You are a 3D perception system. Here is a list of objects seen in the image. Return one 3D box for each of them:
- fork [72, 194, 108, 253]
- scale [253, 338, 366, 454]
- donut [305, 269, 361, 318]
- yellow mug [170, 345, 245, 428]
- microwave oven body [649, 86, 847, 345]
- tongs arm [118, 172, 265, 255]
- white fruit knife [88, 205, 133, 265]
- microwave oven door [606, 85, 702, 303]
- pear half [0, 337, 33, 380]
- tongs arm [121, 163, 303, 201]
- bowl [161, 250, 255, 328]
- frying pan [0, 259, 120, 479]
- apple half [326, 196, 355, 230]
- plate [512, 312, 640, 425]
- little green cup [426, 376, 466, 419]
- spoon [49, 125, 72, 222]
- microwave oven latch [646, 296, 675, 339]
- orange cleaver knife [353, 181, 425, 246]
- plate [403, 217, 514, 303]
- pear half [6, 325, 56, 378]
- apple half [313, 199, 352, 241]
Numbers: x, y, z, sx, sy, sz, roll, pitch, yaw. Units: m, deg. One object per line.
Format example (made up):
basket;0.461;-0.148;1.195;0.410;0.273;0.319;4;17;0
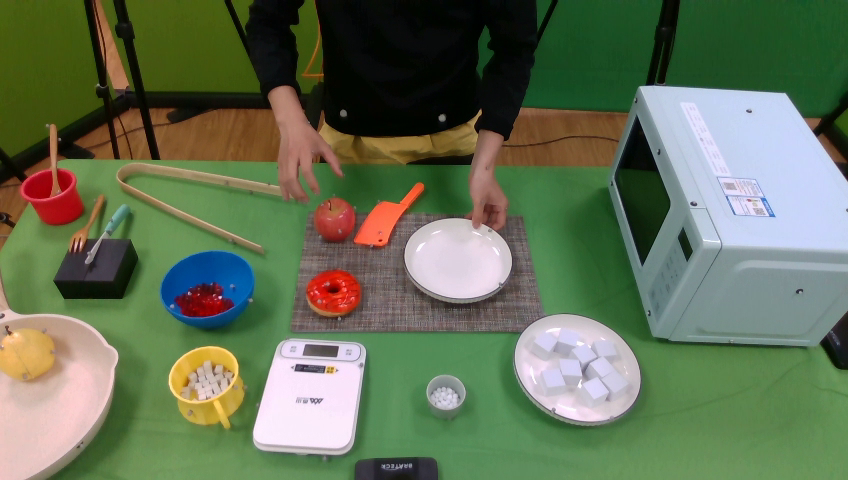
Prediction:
fork;-0.634;-0.036;1.158;0.028;0.019;0.206;-8;32;-8
scale;-0.175;0.236;0.951;0.149;0.032;0.199;4;45;-1
donut;-0.160;0.094;1.075;0.099;0.048;0.098;4;45;-3
yellow mug;-0.322;0.230;0.922;0.100;0.064;0.130;-24;53;-25
microwave oven body;0.567;-0.053;1.118;0.326;0.261;0.439;2;45;-1
tongs arm;-0.473;-0.054;1.212;0.386;0.028;0.028;23;57;17
white fruit knife;-0.584;-0.013;1.129;0.016;0.027;0.206;0;32;-5
microwave oven door;0.423;-0.094;1.140;0.039;0.245;0.353;2;46;-1
pear half;-0.631;0.184;0.921;0.070;0.088;0.031;29;49;19
tongs arm;-0.444;-0.114;1.266;0.384;0.026;0.050;12;51;7
bowl;-0.362;0.098;1.039;0.151;0.077;0.150;2;45;-2
frying pan;-0.647;0.164;0.936;0.307;0.103;0.485;-19;58;-22
apple half;-0.160;-0.054;1.196;0.081;0.081;0.033;34;55;25
plate;0.246;0.213;0.999;0.208;0.039;0.206;2;46;-2
little green cup;0.033;0.248;0.950;0.061;0.039;0.061;2;46;-2
spoon;-0.718;-0.131;1.189;0.041;0.021;0.193;-4;90;-6
microwave oven latch;0.412;0.134;1.061;0.030;0.029;0.078;4;45;1
orange cleaver knife;-0.069;-0.059;1.245;0.077;0.012;0.210;18;50;22
plate;0.064;0.041;1.145;0.209;0.038;0.208;2;46;-2
pear half;-0.608;0.158;0.935;0.076;0.110;0.056;31;51;20
apple half;-0.185;-0.033;1.176;0.080;0.075;0.053;35;57;23
